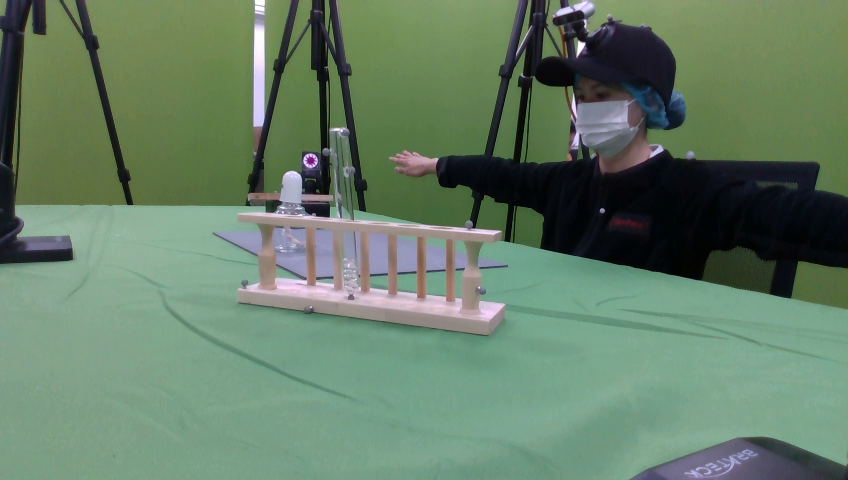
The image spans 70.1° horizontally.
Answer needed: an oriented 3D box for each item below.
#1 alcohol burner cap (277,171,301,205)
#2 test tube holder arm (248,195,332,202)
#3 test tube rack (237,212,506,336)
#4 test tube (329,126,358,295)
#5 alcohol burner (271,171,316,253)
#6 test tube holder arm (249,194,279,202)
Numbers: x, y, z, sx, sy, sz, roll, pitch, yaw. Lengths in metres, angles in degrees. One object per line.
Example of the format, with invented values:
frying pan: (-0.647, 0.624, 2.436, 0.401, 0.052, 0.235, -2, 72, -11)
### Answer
alcohol burner cap: (-0.195, -0.077, 0.880, 0.034, 0.048, 0.034, 7, 7, 0)
test tube holder arm: (-0.269, -0.085, 1.229, 0.179, 0.015, 0.013, -2, 1, -37)
test tube rack: (-0.049, 0.024, 0.552, 0.242, 0.085, 0.067, 5, 8, 18)
test tube: (-0.071, -0.025, 0.534, 0.017, 0.150, 0.017, -3, 10, 1)
alcohol burner: (-0.196, -0.041, 0.884, 0.078, 0.119, 0.078, 3, 5, 0)
test tube holder arm: (-0.302, -0.084, 1.197, 0.088, 0.015, 0.010, -2, 1, -37)
